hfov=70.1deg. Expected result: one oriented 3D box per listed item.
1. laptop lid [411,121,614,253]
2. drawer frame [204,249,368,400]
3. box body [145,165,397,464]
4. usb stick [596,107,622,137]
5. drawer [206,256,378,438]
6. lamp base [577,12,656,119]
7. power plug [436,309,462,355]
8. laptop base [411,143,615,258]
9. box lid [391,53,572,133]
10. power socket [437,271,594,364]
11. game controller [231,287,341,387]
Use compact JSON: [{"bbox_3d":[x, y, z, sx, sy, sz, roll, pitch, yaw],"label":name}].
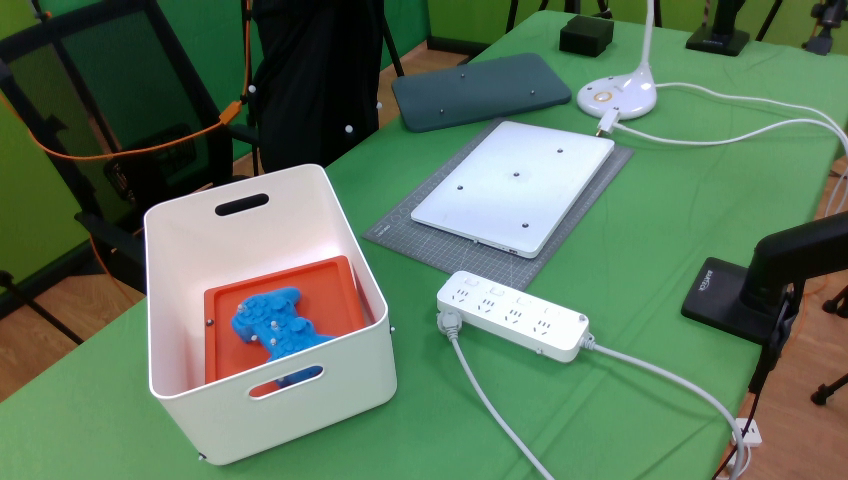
[{"bbox_3d":[0.164,-0.112,1.068,0.240,0.013,0.357,19,46,30],"label":"laptop lid"},{"bbox_3d":[-0.174,0.129,0.790,0.202,0.083,0.212,-16,45,-8],"label":"drawer frame"},{"bbox_3d":[-0.205,0.080,0.802,0.255,0.161,0.361,-18,41,-13],"label":"box body"},{"bbox_3d":[0.355,-0.223,1.168,0.027,0.059,0.022,37,14,34],"label":"usb stick"},{"bbox_3d":[-0.177,0.130,0.787,0.195,0.073,0.210,-14,39,-9],"label":"drawer"},{"bbox_3d":[0.404,-0.359,1.218,0.180,0.181,0.159,-24,43,-23],"label":"lamp base"},{"bbox_3d":[0.033,0.126,0.810,0.035,0.053,0.072,2,59,7],"label":"power plug"},{"bbox_3d":[0.167,-0.102,1.074,0.234,0.023,0.355,16,45,30],"label":"laptop base"},{"bbox_3d":[0.123,-0.339,1.366,0.372,0.015,0.261,-12,40,-5],"label":"box lid"},{"bbox_3d":[0.118,0.102,0.830,0.225,0.033,0.072,20,48,28],"label":"power socket"},{"bbox_3d":[-0.167,0.110,0.734,0.097,0.052,0.154,-34,47,-22],"label":"game controller"}]
